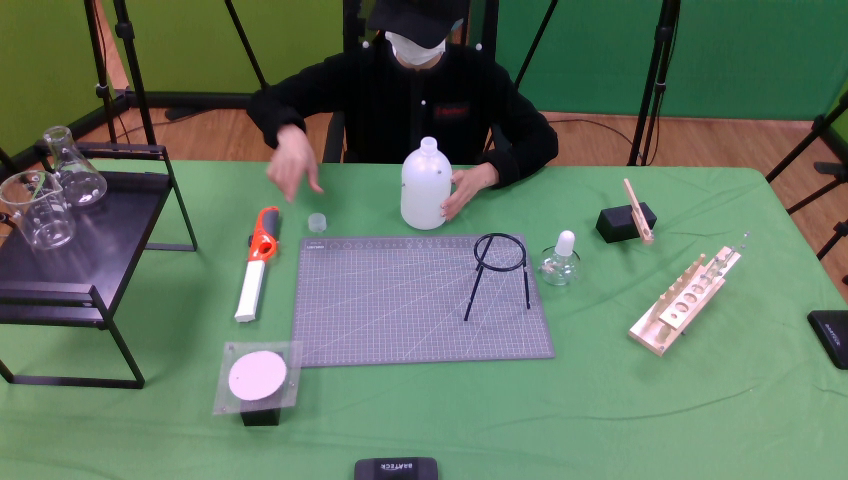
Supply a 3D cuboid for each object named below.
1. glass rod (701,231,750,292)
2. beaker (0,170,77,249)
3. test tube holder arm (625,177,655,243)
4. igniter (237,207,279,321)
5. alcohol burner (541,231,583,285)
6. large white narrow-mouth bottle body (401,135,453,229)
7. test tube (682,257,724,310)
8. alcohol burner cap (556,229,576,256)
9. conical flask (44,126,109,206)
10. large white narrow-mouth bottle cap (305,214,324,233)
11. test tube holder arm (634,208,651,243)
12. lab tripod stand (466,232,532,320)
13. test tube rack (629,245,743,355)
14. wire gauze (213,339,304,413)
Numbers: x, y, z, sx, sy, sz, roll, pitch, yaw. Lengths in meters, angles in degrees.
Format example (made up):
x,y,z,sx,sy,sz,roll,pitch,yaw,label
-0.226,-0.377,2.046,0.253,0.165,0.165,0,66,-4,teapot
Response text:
x,y,z,sx,sy,sz,roll,pitch,yaw,label
0.519,0.045,1.050,0.008,0.201,0.008,0,55,0,glass rod
-0.562,-0.042,0.894,0.084,0.101,0.073,-2,47,-7,beaker
0.433,-0.063,1.220,0.013,0.015,0.177,1,47,-3,test tube holder arm
-0.309,0.036,1.136,0.057,0.025,0.274,-7,45,5,igniter
0.258,0.028,1.123,0.078,0.120,0.077,1,48,-1,alcohol burner
0.006,-0.119,1.192,0.102,0.195,0.101,2,46,-2,large white narrow-mouth bottle body
0.475,0.080,1.037,0.017,0.151,0.017,2,51,-2,test tube
0.260,0.002,1.098,0.034,0.048,0.033,3,40,-2,alcohol burner cap
-0.554,-0.119,0.953,0.075,0.122,0.075,2,46,-2,conical flask
-0.219,-0.033,1.215,0.038,0.024,0.037,2,46,-2,large white narrow-mouth bottle cap
0.428,-0.030,1.189,0.010,0.015,0.087,1,47,-2,test tube holder arm
0.125,0.059,1.065,0.148,0.132,0.147,1,45,0,lab tripod stand
0.474,0.095,1.091,0.242,0.085,0.066,-34,56,-31,test tube rack
-0.250,0.203,0.925,0.121,0.011,0.124,-1,46,-3,wire gauze
